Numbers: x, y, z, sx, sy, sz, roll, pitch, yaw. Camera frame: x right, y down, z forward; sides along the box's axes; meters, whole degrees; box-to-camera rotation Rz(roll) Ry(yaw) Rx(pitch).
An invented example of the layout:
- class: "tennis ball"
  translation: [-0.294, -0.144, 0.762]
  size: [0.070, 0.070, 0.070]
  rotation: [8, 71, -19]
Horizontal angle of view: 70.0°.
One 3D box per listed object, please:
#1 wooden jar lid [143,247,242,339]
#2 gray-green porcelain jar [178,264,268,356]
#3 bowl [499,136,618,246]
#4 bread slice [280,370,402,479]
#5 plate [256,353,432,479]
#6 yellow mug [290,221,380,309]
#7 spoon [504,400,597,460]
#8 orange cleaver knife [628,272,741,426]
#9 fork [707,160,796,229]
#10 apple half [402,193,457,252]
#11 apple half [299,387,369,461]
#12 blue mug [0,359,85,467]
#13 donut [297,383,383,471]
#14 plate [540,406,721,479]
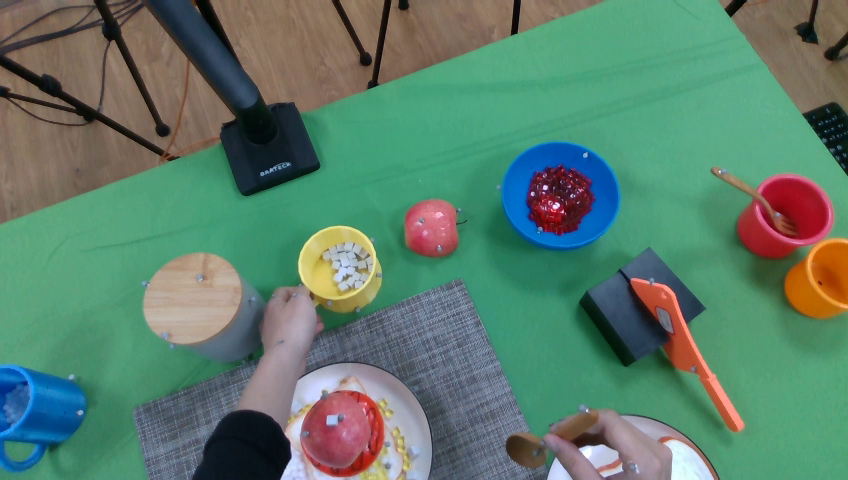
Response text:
- class: "wooden jar lid"
  translation: [-0.259, 0.061, 0.684]
  size: [0.108, 0.021, 0.107]
  rotation: [0, 67, 1]
- class: "gray-green porcelain jar"
  translation: [-0.256, 0.083, 0.743]
  size: [0.106, 0.127, 0.105]
  rotation: [-1, 68, 2]
- class: "bowl"
  translation: [0.172, -0.054, 0.804]
  size: [0.151, 0.077, 0.150]
  rotation: [-1, 70, 2]
- class: "bread slice"
  translation: [-0.090, 0.238, 0.724]
  size: [0.107, 0.018, 0.133]
  rotation: [-38, 72, -11]
- class: "plate"
  translation: [-0.094, 0.242, 0.722]
  size: [0.207, 0.039, 0.206]
  rotation: [-1, 70, 2]
- class: "yellow mug"
  translation: [-0.122, 0.043, 0.786]
  size: [0.131, 0.064, 0.099]
  rotation: [-43, 74, -12]
- class: "spoon"
  translation: [0.109, 0.168, 0.529]
  size: [0.041, 0.195, 0.021]
  rotation: [36, 65, 8]
- class: "orange cleaver knife"
  translation: [0.311, 0.129, 0.730]
  size: [0.012, 0.077, 0.211]
  rotation: [-31, 93, -16]
- class: "fork"
  translation: [0.414, -0.056, 0.759]
  size: [0.209, 0.018, 0.028]
  rotation: [24, 65, -34]
- class: "apple half"
  translation: [0.006, -0.029, 0.815]
  size: [0.074, 0.054, 0.080]
  rotation: [-1, 70, 4]
- class: "apple half"
  translation: [-0.101, 0.203, 0.668]
  size: [0.081, 0.033, 0.081]
  rotation: [-3, 71, 8]
- class: "blue mug"
  translation: [-0.474, 0.207, 0.716]
  size: [0.082, 0.106, 0.115]
  rotation: [-2, 69, 1]
- class: "donut"
  translation: [-0.097, 0.216, 0.702]
  size: [0.099, 0.048, 0.098]
  rotation: [-1, 72, 3]
- class: "plate"
  translation: [0.235, 0.298, 0.693]
  size: [0.209, 0.038, 0.207]
  rotation: [-1, 70, 3]
